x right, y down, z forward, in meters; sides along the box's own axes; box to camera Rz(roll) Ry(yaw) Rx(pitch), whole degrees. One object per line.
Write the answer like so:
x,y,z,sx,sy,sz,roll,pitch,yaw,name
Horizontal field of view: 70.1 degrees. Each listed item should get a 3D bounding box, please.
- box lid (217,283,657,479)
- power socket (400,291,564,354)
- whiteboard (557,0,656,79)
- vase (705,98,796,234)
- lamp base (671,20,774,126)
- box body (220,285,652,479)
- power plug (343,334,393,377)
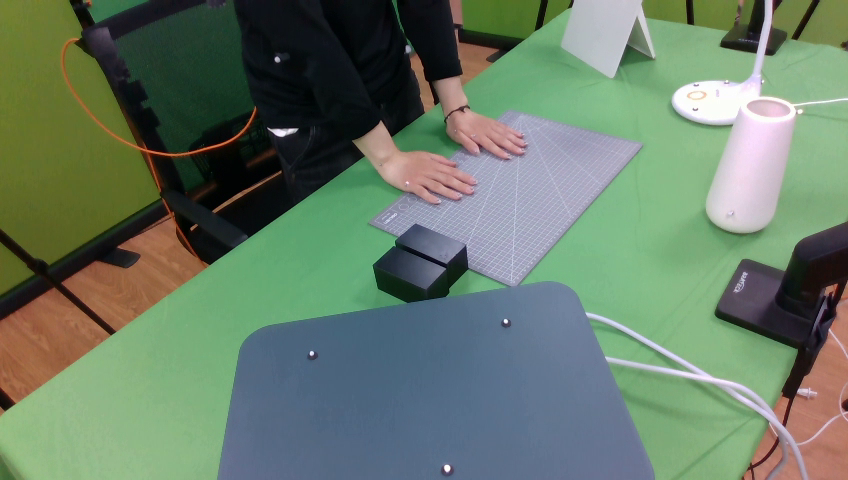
-0.004,0.156,0.568,0.372,0.015,0.261,-8,39,-2,box lid
0.079,0.111,0.823,0.227,0.033,0.072,-5,41,1,power socket
0.462,-0.542,1.366,0.145,0.306,0.215,-3,36,-25,whiteboard
0.480,-0.104,0.889,0.098,0.201,0.097,-4,42,4,vase
0.581,-0.332,1.154,0.179,0.181,0.160,2,41,7,lamp base
0.005,0.211,0.616,0.364,0.161,0.252,-9,40,-2,box body
-0.075,0.156,0.807,0.073,0.035,0.052,36,34,-12,power plug
